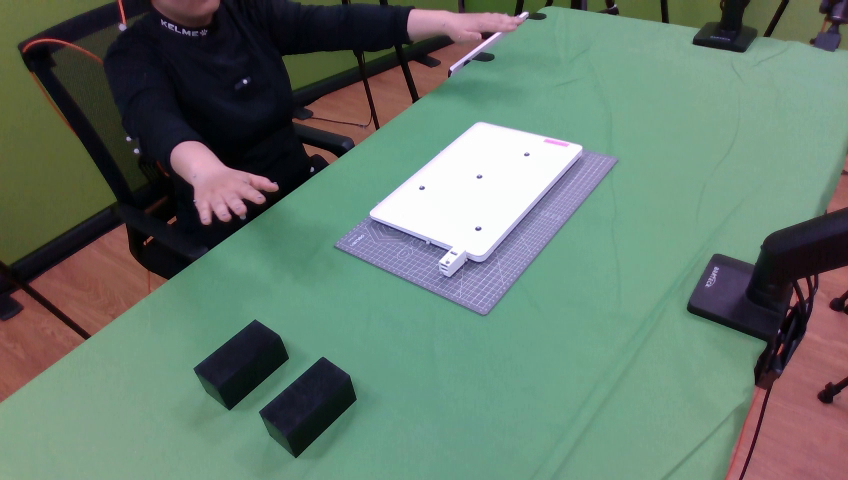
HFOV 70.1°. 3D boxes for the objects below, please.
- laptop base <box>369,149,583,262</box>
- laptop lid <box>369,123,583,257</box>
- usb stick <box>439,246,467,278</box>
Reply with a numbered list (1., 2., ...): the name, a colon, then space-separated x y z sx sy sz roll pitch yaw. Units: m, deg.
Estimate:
1. laptop base: 0.101 -0.097 1.071 0.233 0.023 0.355 19 47 32
2. laptop lid: 0.097 -0.106 1.065 0.239 0.013 0.358 22 48 33
3. usb stick: 0.048 0.028 0.913 0.021 0.027 0.059 23 47 31
